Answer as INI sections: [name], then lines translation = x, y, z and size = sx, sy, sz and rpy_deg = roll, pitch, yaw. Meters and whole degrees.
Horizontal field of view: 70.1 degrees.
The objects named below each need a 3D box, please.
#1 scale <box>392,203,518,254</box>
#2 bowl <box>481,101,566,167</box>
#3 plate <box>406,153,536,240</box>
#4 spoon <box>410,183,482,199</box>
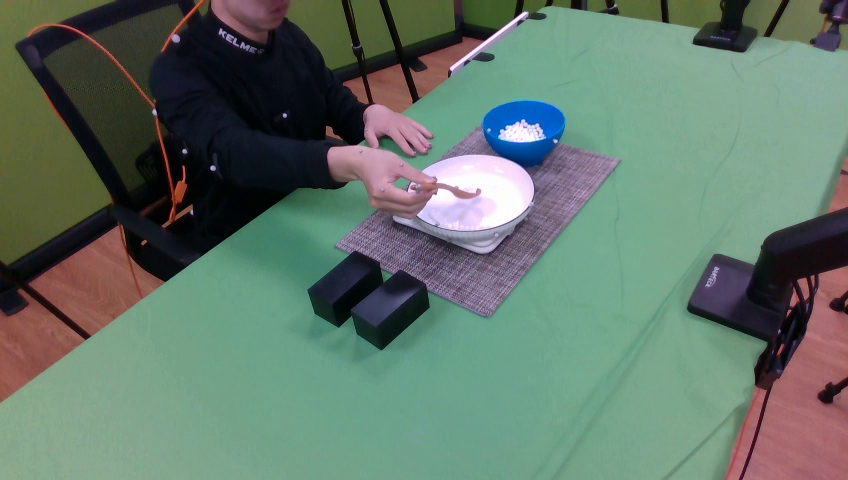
[scale]
translation = 0.060, -0.051, 1.006
size = 0.199, 0.032, 0.149
rpy_deg = 22, 48, 30
[bowl]
translation = 0.182, -0.186, 1.111
size = 0.151, 0.077, 0.150
rpy_deg = -4, 40, 4
[plate]
translation = 0.075, -0.067, 0.973
size = 0.209, 0.038, 0.208
rpy_deg = -4, 41, 4
[spoon]
translation = 0.032, -0.075, 0.887
size = 0.041, 0.021, 0.195
rpy_deg = 5, 1, 31
